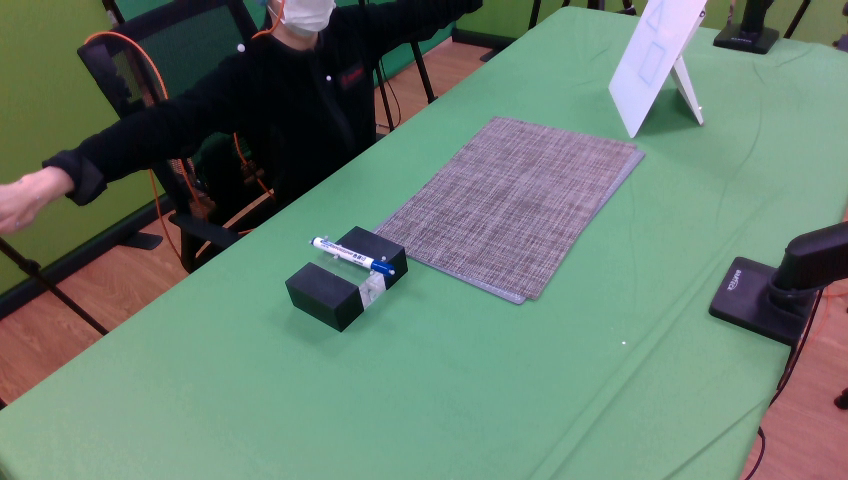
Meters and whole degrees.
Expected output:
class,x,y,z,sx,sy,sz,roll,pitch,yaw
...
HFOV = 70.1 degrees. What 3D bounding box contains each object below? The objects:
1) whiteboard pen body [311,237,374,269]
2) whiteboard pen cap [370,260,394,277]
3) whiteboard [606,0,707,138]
class,x,y,z,sx,sy,sz,roll,pitch,yaw
whiteboard pen body,-0.111,0.022,0.891,0.140,0.017,0.017,19,47,28
whiteboard pen cap,-0.061,0.040,0.862,0.033,0.018,0.018,19,47,26
whiteboard,0.496,-0.359,1.147,0.144,0.305,0.216,11,40,-7
